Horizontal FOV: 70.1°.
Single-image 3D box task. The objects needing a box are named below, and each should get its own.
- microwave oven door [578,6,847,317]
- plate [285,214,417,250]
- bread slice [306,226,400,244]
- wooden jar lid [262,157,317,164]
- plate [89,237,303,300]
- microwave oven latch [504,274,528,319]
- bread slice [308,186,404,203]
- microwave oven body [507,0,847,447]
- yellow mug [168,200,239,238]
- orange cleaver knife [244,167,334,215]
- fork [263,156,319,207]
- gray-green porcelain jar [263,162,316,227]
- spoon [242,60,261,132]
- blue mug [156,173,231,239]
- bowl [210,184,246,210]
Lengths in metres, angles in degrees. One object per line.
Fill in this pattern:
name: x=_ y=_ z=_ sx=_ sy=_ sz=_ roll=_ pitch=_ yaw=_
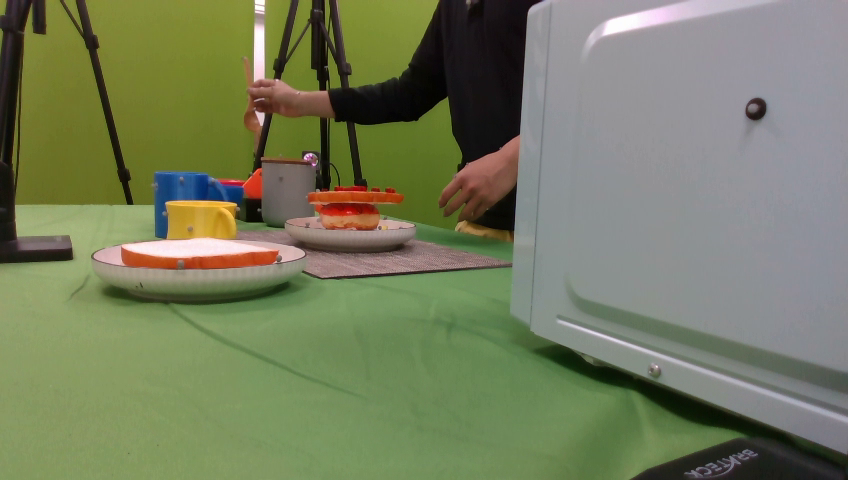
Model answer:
microwave oven door: x=0.294 y=-0.067 z=0.570 sx=0.358 sy=0.243 sz=0.039 roll=-3 pitch=9 yaw=-31
plate: x=-0.116 y=-0.014 z=0.964 sx=0.209 sy=0.038 sz=0.209 roll=2 pitch=7 yaw=0
bread slice: x=-0.103 y=-0.009 z=0.961 sx=0.131 sy=0.019 sz=0.105 roll=1 pitch=8 yaw=24
wooden jar lid: x=-0.269 y=-0.154 z=1.208 sx=0.108 sy=0.020 sz=0.108 roll=3 pitch=4 yaw=0
plate: x=-0.233 y=0.029 z=0.637 sx=0.208 sy=0.039 sz=0.207 roll=2 pitch=7 yaw=0
microwave oven latch: x=0.100 y=0.041 z=0.470 sx=0.079 sy=0.029 sz=0.030 roll=-1 pitch=7 yaw=-27
bread slice: x=-0.114 y=-0.071 z=0.952 sx=0.134 sy=0.018 sz=0.107 roll=-2 pitch=0 yaw=21
microwave oven body: x=0.331 y=-0.042 z=0.425 sx=0.444 sy=0.260 sz=0.324 roll=-2 pitch=8 yaw=-31
yellow mug: x=-0.320 y=-0.023 z=0.904 sx=0.130 sy=0.064 sz=0.100 roll=9 pitch=11 yaw=36
orange cleaver knife: x=-0.300 y=-0.089 z=1.352 sx=0.212 sy=0.077 sz=0.012 roll=28 pitch=-6 yaw=-34
fork: x=-0.331 y=-0.144 z=1.505 sx=0.207 sy=0.018 sz=0.028 roll=-42 pitch=-21 yaw=22
gray-green porcelain jar: x=-0.271 y=-0.092 z=1.217 sx=0.106 sy=0.126 sz=0.106 roll=2 pitch=7 yaw=0
spoon: x=-0.409 y=-0.339 z=1.422 sx=0.042 sy=0.193 sz=0.021 roll=3 pitch=-17 yaw=-39
blue mug: x=-0.381 y=-0.057 z=1.004 sx=0.117 sy=0.106 sz=0.082 roll=0 pitch=8 yaw=-12
bowl: x=-0.422 y=-0.067 z=1.166 sx=0.151 sy=0.077 sz=0.151 roll=2 pitch=7 yaw=0
